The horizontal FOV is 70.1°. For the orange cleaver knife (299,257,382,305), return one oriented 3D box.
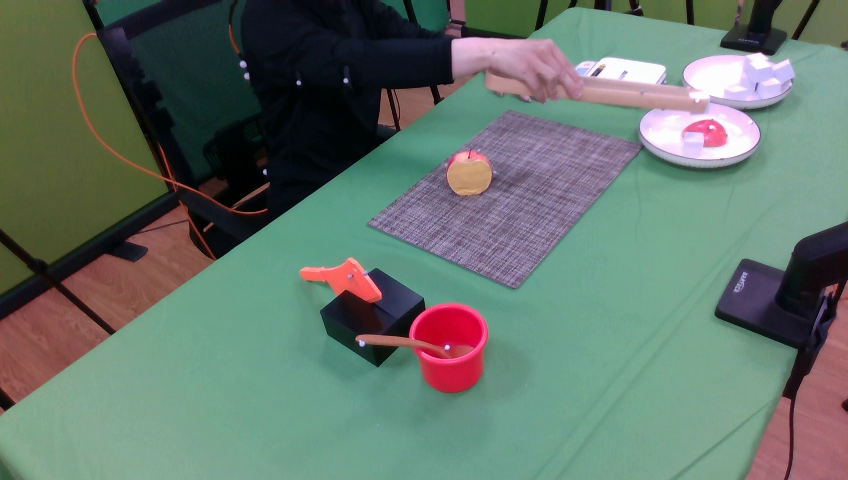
[{"bbox_3d":[-0.124,0.062,0.872,0.012,0.077,0.210,-38,17,-29],"label":"orange cleaver knife"}]

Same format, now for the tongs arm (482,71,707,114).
[{"bbox_3d":[0.296,-0.258,1.058,0.385,0.026,0.050,5,36,-2],"label":"tongs arm"}]

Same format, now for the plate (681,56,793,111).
[{"bbox_3d":[0.636,-0.317,1.239,0.207,0.039,0.206,-4,40,4],"label":"plate"}]

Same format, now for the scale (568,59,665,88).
[{"bbox_3d":[0.406,-0.348,1.314,0.199,0.032,0.149,19,47,28],"label":"scale"}]

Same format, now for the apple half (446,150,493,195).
[{"bbox_3d":[0.080,-0.124,1.065,0.081,0.075,0.053,-7,36,6],"label":"apple half"}]

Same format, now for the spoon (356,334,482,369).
[{"bbox_3d":[-0.001,0.130,0.731,0.195,0.021,0.041,22,28,-39],"label":"spoon"}]

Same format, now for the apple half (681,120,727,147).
[{"bbox_3d":[0.518,-0.202,1.115,0.081,0.033,0.081,-1,40,2],"label":"apple half"}]

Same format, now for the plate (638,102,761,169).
[{"bbox_3d":[0.500,-0.189,1.111,0.209,0.038,0.208,-4,41,4],"label":"plate"}]

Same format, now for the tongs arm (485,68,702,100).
[{"bbox_3d":[0.298,-0.272,1.077,0.388,0.028,0.028,7,40,1],"label":"tongs arm"}]
